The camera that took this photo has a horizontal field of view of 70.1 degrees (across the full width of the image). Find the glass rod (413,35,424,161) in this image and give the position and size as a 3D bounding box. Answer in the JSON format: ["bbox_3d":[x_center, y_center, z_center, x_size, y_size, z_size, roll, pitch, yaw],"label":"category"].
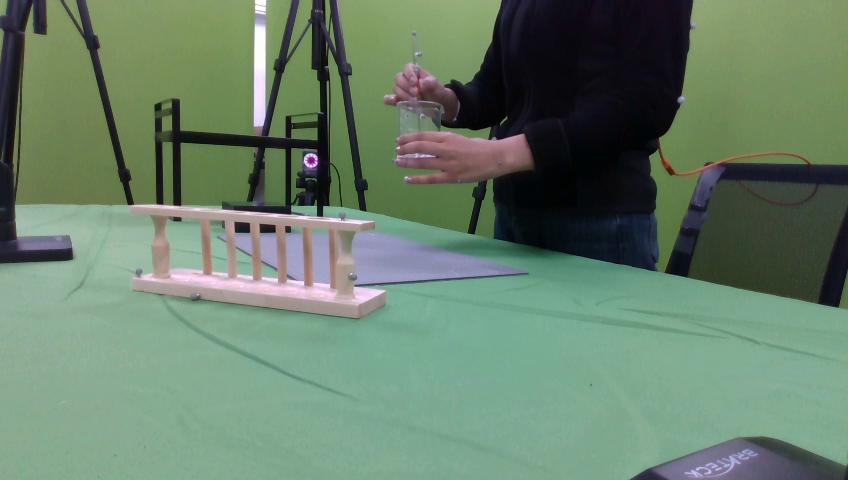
[{"bbox_3d":[-0.008,-0.225,0.965,0.008,0.199,0.008,-4,5,1],"label":"glass rod"}]

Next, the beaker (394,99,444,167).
[{"bbox_3d":[-0.008,-0.167,0.957,0.084,0.100,0.073,0,6,-27],"label":"beaker"}]

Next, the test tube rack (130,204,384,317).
[{"bbox_3d":[-0.163,0.013,0.589,0.242,0.085,0.067,5,8,17],"label":"test tube rack"}]
